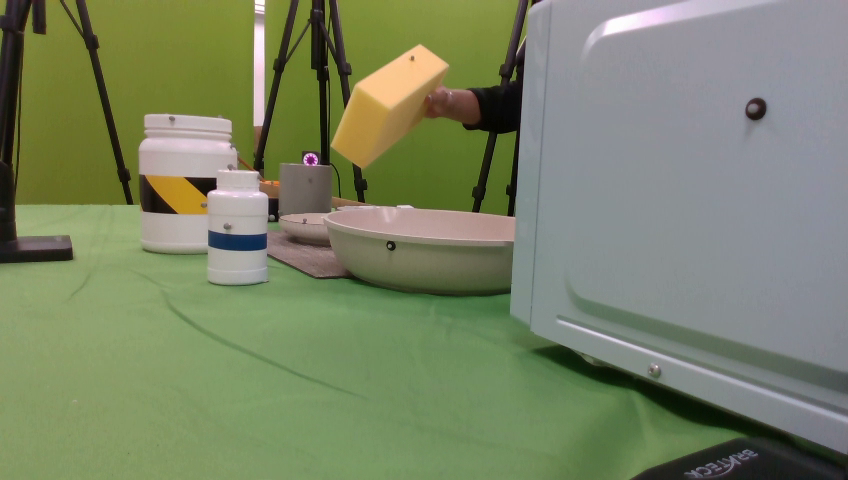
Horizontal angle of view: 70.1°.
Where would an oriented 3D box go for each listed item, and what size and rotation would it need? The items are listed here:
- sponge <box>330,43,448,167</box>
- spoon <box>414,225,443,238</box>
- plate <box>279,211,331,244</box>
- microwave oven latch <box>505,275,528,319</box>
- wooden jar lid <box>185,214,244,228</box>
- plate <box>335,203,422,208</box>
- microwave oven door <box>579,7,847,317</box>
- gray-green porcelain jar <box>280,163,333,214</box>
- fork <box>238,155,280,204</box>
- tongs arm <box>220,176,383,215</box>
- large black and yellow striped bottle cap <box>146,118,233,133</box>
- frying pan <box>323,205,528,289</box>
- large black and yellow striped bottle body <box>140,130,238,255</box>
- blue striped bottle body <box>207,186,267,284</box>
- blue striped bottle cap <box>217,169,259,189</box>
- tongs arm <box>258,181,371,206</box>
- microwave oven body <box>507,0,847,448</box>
[{"bbox_3d":[-0.050,-0.212,0.930,0.061,0.118,0.207,35,41,4],"label":"sponge"},{"bbox_3d":[0.016,-0.020,1.113,0.041,0.021,0.194,-14,3,12],"label":"spoon"},{"bbox_3d":[-0.139,-0.022,1.021,0.209,0.038,0.209,2,8,0],"label":"plate"},{"bbox_3d":[0.100,0.041,0.472,0.079,0.029,0.030,-2,8,-30],"label":"microwave oven latch"},{"bbox_3d":[-0.404,-0.037,1.169,0.108,0.020,0.108,3,7,0],"label":"wooden jar lid"},{"bbox_3d":[-0.089,-0.053,1.309,0.208,0.039,0.207,2,8,0],"label":"plate"},{"bbox_3d":[0.294,-0.067,0.570,0.358,0.243,0.039,-3,9,-31],"label":"microwave oven door"},{"bbox_3d":[-0.238,-0.092,1.221,0.106,0.126,0.106,2,7,0],"label":"gray-green porcelain jar"},{"bbox_3d":[-0.396,-0.143,1.486,0.028,0.018,0.208,20,-26,45],"label":"fork"},{"bbox_3d":[-0.284,-0.105,1.445,0.389,0.027,0.028,9,-4,-23],"label":"tongs arm"},{"bbox_3d":[-0.333,-0.163,0.861,0.115,0.019,0.115,1,9,0],"label":"large black and yellow striped bottle cap"},{"bbox_3d":[0.110,-0.018,0.800,0.490,0.102,0.305,-12,16,-30],"label":"frying pan"},{"bbox_3d":[-0.336,-0.078,0.871,0.131,0.184,0.130,2,8,0],"label":"large black and yellow striped bottle body"},{"bbox_3d":[-0.204,-0.016,0.663,0.063,0.120,0.063,2,7,0],"label":"blue striped bottle body"},{"bbox_3d":[-0.202,-0.067,0.656,0.044,0.020,0.044,0,10,0],"label":"blue striped bottle cap"},{"bbox_3d":[-0.241,-0.095,1.373,0.387,0.026,0.050,9,0,-37],"label":"tongs arm"},{"bbox_3d":[0.331,-0.042,0.425,0.444,0.260,0.324,-2,8,-31],"label":"microwave oven body"}]
